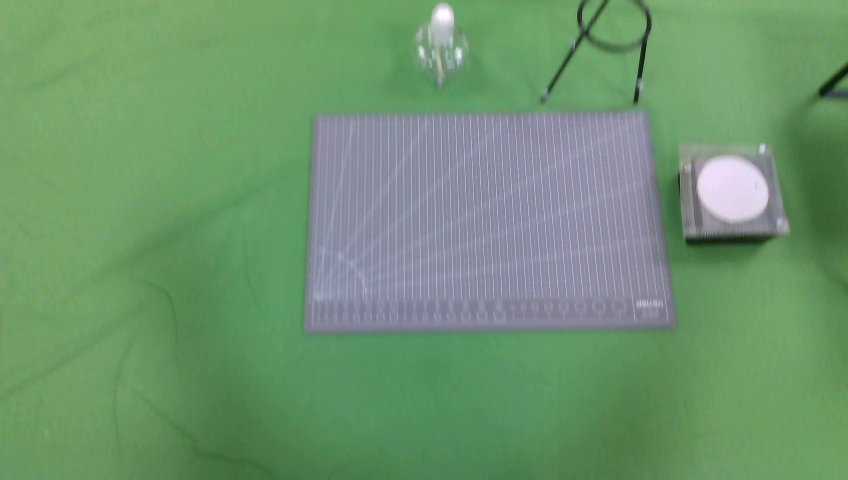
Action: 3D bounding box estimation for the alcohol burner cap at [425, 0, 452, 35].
[{"bbox_3d":[0.019,-0.280,0.750,0.034,0.048,0.033,1,78,-4],"label":"alcohol burner cap"}]

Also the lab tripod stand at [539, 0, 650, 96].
[{"bbox_3d":[0.225,-0.252,0.772,0.148,0.132,0.147,1,72,-3],"label":"lab tripod stand"}]

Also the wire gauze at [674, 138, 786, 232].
[{"bbox_3d":[0.368,-0.068,0.735,0.121,0.011,0.124,2,72,2],"label":"wire gauze"}]

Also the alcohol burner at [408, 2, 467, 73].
[{"bbox_3d":[0.019,-0.271,0.783,0.078,0.119,0.077,1,74,-3],"label":"alcohol burner"}]
